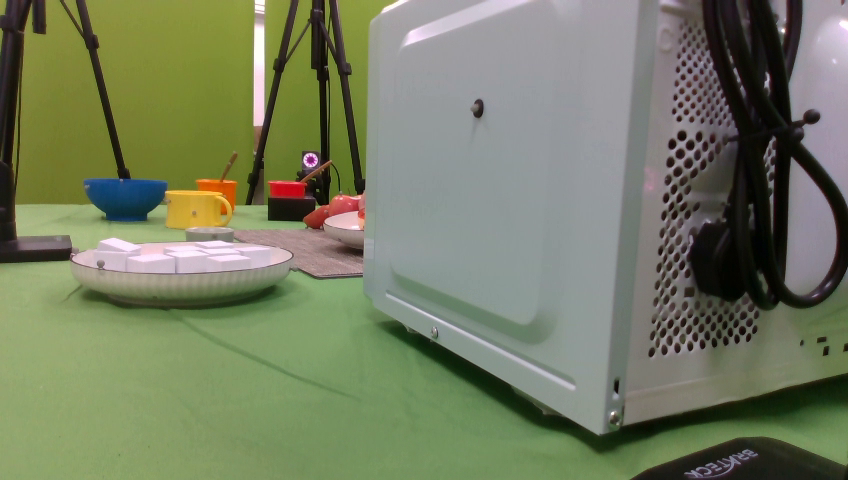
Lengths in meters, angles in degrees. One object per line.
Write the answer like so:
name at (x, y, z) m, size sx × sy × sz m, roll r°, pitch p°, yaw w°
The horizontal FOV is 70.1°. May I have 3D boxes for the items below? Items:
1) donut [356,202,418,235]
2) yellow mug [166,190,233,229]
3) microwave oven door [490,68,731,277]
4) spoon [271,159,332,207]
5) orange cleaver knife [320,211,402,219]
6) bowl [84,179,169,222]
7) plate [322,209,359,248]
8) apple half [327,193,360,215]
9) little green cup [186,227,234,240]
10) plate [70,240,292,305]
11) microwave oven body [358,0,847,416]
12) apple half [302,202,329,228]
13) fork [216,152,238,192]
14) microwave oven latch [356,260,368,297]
donut at (-0.057, -0.033, 0.948) m, size 0.099 × 0.048 × 0.099 m, roll 0°, pitch 10°, yaw 0°
yellow mug at (-0.415, -0.057, 1.132) m, size 0.130 × 0.064 × 0.100 m, roll 6°, pitch 8°, yaw 16°
microwave oven door at (0.230, -0.098, 0.834) m, size 0.039 × 0.243 × 0.354 m, roll -3°, pitch 9°, yaw -37°
spoon at (-0.307, -0.142, 1.514) m, size 0.193 × 0.021 × 0.041 m, roll -41°, pitch 4°, yaw 8°
orange cleaver knife at (-0.142, -0.057, 1.394) m, size 0.077 × 0.012 × 0.212 m, roll 3°, pitch 7°, yaw 44°
bowl at (-0.584, -0.078, 1.194) m, size 0.151 × 0.077 × 0.151 m, roll 3°, pitch 8°, yaw 0°
plate at (-0.052, -0.019, 0.933) m, size 0.209 × 0.038 × 0.209 m, roll -1°, pitch 12°, yaw 1°
apple half at (-0.132, -0.047, 1.087) m, size 0.081 × 0.074 × 0.053 m, roll 4°, pitch 11°, yaw -13°
little green cup at (-0.284, 0.005, 0.805) m, size 0.061 × 0.038 × 0.061 m, roll 2°, pitch 8°, yaw 0°
plate at (-0.242, 0.032, 0.618) m, size 0.208 × 0.039 × 0.207 m, roll 2°, pitch 8°, yaw 0°
microwave oven body at (0.211, -0.047, 0.475) m, size 0.444 × 0.260 × 0.324 m, roll -1°, pitch 7°, yaw -28°
apple half at (-0.192, -0.043, 1.169) m, size 0.081 × 0.032 × 0.081 m, roll -23°, pitch -12°, yaw -5°
fork at (-0.455, -0.132, 1.367) m, size 0.028 × 0.018 × 0.207 m, roll -3°, pitch -34°, yaw -38°
microwave oven latch at (-0.020, 0.033, 0.530) m, size 0.079 × 0.029 × 0.030 m, roll -1°, pitch 7°, yaw -27°
